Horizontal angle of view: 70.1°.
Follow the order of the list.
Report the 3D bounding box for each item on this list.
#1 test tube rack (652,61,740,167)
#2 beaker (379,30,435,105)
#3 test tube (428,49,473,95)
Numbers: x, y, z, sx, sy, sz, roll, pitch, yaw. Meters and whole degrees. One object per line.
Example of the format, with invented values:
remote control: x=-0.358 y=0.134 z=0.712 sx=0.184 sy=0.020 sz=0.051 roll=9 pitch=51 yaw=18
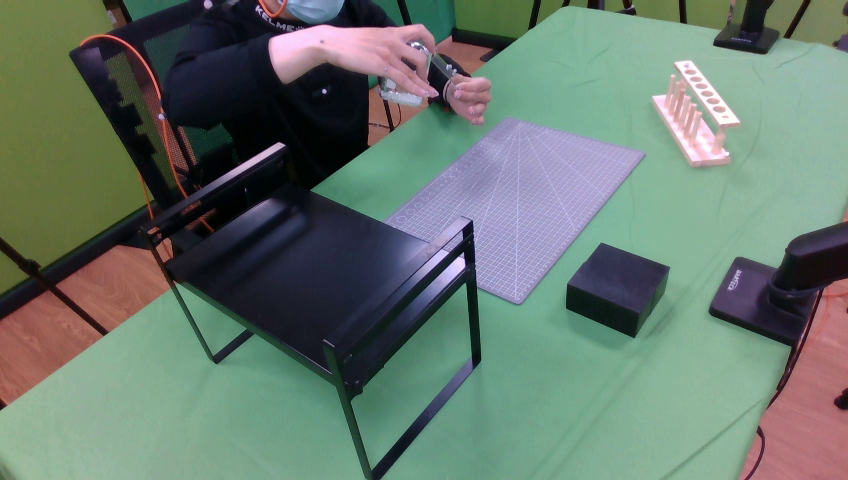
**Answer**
test tube rack: x=0.499 y=-0.242 z=1.130 sx=0.067 sy=0.085 sz=0.241 roll=-5 pitch=41 yaw=3
beaker: x=-0.026 y=-0.264 z=0.939 sx=0.073 sy=0.100 sz=0.084 roll=18 pitch=10 yaw=36
test tube: x=0.048 y=-0.286 z=1.038 sx=0.017 sy=0.152 sz=0.017 roll=-7 pitch=74 yaw=28
